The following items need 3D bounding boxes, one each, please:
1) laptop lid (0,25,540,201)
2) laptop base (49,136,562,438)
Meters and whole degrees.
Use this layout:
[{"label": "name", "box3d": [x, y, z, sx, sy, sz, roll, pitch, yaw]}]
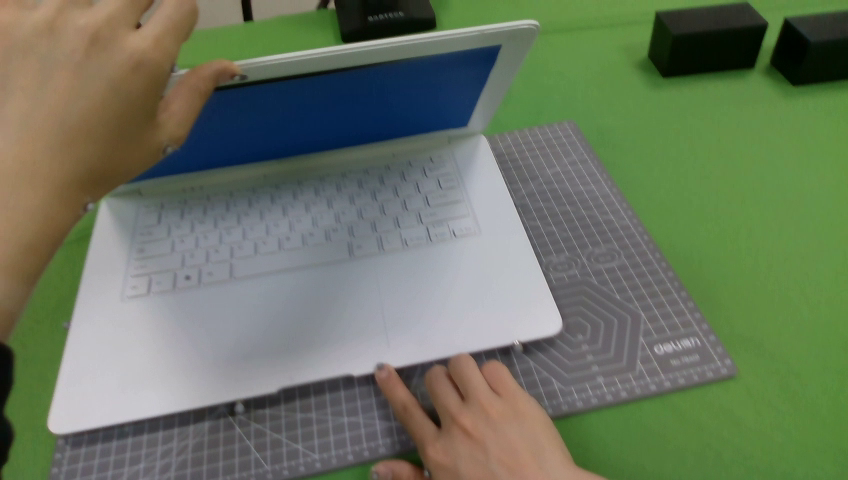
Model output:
[{"label": "laptop lid", "box3d": [-0.109, -0.081, 0.446, 0.357, 0.242, 0.013, -11, 85, -3]}, {"label": "laptop base", "box3d": [-0.094, 0.019, 0.487, 0.355, 0.023, 0.233, -10, 50, -5]}]
